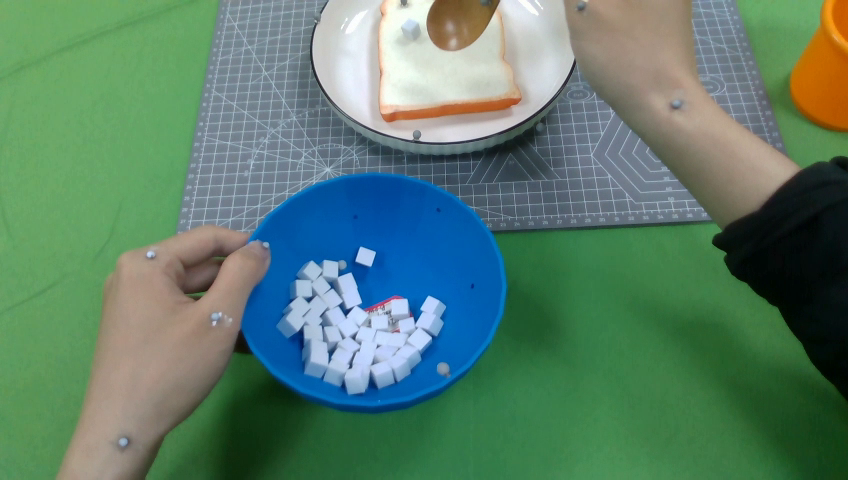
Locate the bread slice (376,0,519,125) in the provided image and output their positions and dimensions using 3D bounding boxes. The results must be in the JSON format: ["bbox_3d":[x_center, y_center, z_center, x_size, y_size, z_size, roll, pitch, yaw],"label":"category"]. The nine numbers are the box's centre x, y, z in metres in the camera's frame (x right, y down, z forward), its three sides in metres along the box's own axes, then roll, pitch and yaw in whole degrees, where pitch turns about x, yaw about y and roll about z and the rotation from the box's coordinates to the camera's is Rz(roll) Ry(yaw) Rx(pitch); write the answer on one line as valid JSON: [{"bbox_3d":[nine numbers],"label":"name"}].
[{"bbox_3d":[0.011,-0.153,0.490,0.107,0.018,0.133,-9,65,0],"label":"bread slice"}]

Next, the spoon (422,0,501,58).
[{"bbox_3d":[0.062,-0.164,0.362,0.022,0.193,0.041,-25,93,-37],"label":"spoon"}]

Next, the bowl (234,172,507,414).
[{"bbox_3d":[-0.030,0.041,0.367,0.151,0.077,0.150,2,56,-2],"label":"bowl"}]

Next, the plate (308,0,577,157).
[{"bbox_3d":[0.014,-0.149,0.485,0.209,0.038,0.207,-2,63,4],"label":"plate"}]
